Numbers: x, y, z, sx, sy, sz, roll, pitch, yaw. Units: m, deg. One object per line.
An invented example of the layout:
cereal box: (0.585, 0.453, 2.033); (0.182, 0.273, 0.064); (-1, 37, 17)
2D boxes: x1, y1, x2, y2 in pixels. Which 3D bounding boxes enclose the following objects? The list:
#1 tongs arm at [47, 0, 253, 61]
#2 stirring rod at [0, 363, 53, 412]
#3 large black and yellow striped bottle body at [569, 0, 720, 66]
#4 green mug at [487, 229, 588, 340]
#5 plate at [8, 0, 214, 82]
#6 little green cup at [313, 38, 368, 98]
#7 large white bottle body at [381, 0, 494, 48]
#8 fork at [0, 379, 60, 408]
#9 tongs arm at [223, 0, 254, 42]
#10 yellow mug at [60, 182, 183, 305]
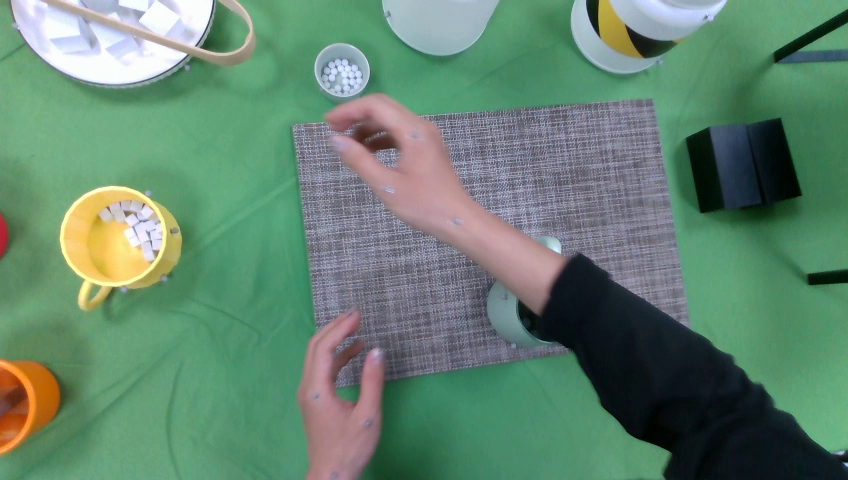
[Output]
tongs arm: (-0.369, -0.263, 0.621); (0.385, 0.026, 0.050); (22, 79, -4)
stirring rod: (-0.421, 0.173, 0.557); (0.014, 0.006, 0.175); (44, 38, -4)
large black and yellow striped bottle body: (0.257, -0.290, 0.681); (0.131, 0.184, 0.130); (1, 84, -8)
green mug: (0.126, 0.049, 0.668); (0.093, 0.105, 0.125); (10, 84, -7)
plate: (-0.334, -0.270, 0.659); (0.208, 0.039, 0.207); (1, 86, -9)
little green cup: (-0.095, -0.193, 0.690); (0.062, 0.038, 0.061); (1, 86, -9)
large white bottle body: (0.024, -0.300, 0.644); (0.131, 0.184, 0.130); (1, 85, -8)
fork: (-0.446, 0.138, 0.551); (0.209, 0.018, 0.028); (19, 75, -50)
tongs arm: (-0.333, -0.337, 0.634); (0.388, 0.028, 0.028); (36, 75, -2)
yellow mug: (-0.316, 0.008, 0.625); (0.100, 0.064, 0.130); (26, 83, -6)
